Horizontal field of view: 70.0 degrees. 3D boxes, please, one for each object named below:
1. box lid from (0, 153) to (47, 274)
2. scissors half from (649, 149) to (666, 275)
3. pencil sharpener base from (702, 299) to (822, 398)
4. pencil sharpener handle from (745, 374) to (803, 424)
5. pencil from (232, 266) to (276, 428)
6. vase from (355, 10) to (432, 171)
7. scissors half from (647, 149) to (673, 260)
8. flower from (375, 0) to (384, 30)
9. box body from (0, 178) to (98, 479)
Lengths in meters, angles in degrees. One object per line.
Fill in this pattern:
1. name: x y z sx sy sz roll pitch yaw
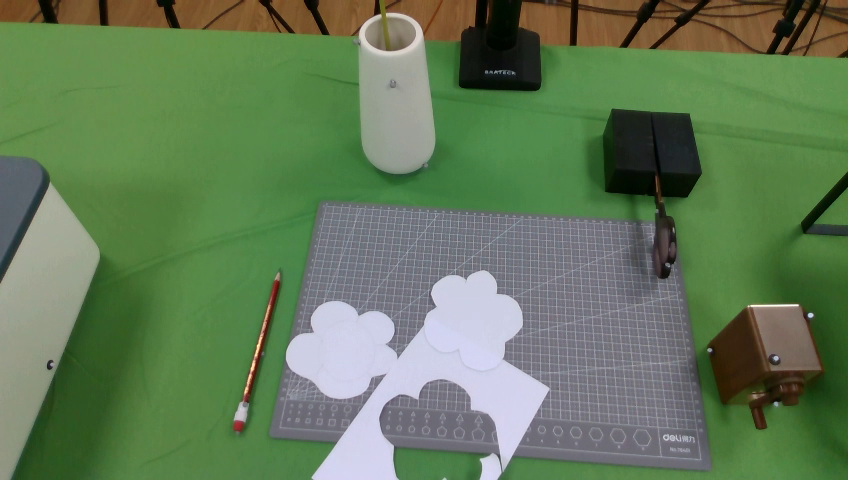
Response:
1. box lid: -0.519 0.061 0.526 0.263 0.015 0.368 4 59 2
2. scissors half: 0.280 -0.038 0.738 0.013 0.040 0.174 2 67 10
3. pencil sharpener base: 0.340 0.116 0.617 0.061 0.108 0.076 0 59 0
4. pencil sharpener handle: 0.336 0.153 0.580 0.036 0.068 0.030 7 58 -12
5. pencil: -0.186 0.112 0.676 0.012 0.012 0.192 4 57 3
6. vase: -0.040 -0.176 0.738 0.098 0.201 0.097 0 58 1
7. scissors half: 0.278 -0.049 0.721 0.013 0.040 0.173 4 49 5
8. flower: -0.046 -0.230 0.673 0.044 0.365 0.038 -3 41 2
9. box body: -0.519 0.103 0.590 0.254 0.162 0.361 4 59 2
